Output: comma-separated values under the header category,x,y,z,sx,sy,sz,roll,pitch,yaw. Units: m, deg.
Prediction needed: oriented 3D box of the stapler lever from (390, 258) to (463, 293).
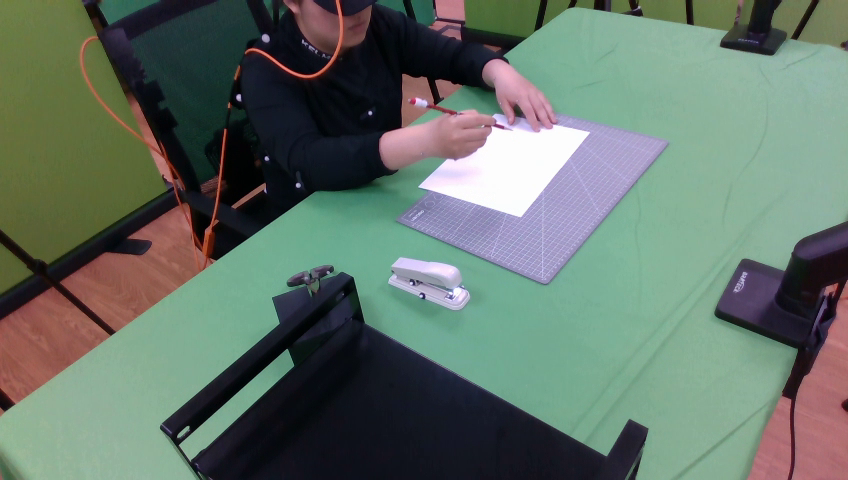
category,x,y,z,sx,sy,sz,roll,pitch,yaw
stapler lever,0.003,0.046,0.881,0.117,0.040,0.027,17,43,29

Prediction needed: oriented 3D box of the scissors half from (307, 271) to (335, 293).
category,x,y,z,sx,sy,sz,roll,pitch,yaw
scissors half,-0.152,0.061,0.872,0.040,0.013,0.175,-3,5,-4

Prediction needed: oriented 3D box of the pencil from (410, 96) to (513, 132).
category,x,y,z,sx,sy,sz,roll,pitch,yaw
pencil,0.065,-0.205,0.993,0.195,0.012,0.012,12,34,-24

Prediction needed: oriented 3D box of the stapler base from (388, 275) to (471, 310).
category,x,y,z,sx,sy,sz,roll,pitch,yaw
stapler base,0.007,0.066,0.897,0.129,0.024,0.041,17,43,29

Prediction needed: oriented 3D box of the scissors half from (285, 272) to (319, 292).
category,x,y,z,sx,sy,sz,roll,pitch,yaw
scissors half,-0.172,0.063,0.868,0.040,0.013,0.174,-10,7,-21
